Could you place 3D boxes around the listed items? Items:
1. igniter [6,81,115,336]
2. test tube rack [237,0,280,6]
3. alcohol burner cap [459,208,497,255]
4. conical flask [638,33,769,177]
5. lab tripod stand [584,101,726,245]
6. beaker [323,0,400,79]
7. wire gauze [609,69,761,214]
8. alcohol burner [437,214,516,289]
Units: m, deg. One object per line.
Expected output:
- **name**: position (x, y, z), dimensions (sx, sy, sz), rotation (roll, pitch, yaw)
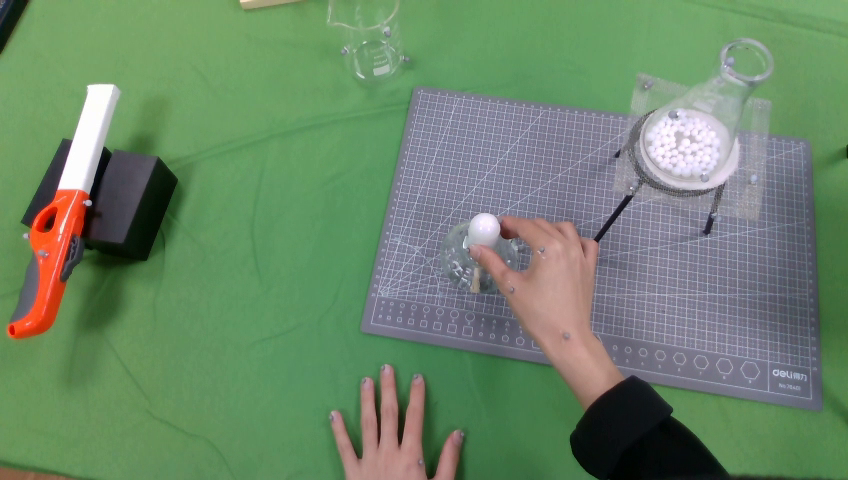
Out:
- **igniter**: position (-0.358, -0.040, 0.604), dimensions (0.057, 0.025, 0.274), rotation (1, 68, 7)
- **test tube rack**: position (-0.119, -0.358, 0.737), dimensions (0.242, 0.086, 0.066), rotation (-10, 69, -3)
- **alcohol burner cap**: position (0.051, -0.011, 0.545), dimensions (0.034, 0.048, 0.033), rotation (1, 63, -2)
- **conical flask**: position (0.220, -0.107, 0.472), dimensions (0.075, 0.122, 0.075), rotation (0, 69, 1)
- **lab tripod stand**: position (0.225, -0.061, 0.589), dimensions (0.148, 0.132, 0.147), rotation (0, 68, 0)
- **beaker**: position (-0.067, -0.236, 0.682), dimensions (0.084, 0.101, 0.073), rotation (-31, 71, -9)
- **wire gauze**: position (0.231, -0.087, 0.528), dimensions (0.121, 0.011, 0.124), rotation (15, 68, 4)
- **alcohol burner**: position (0.052, 0.004, 0.579), dimensions (0.078, 0.120, 0.077), rotation (0, 68, 0)
